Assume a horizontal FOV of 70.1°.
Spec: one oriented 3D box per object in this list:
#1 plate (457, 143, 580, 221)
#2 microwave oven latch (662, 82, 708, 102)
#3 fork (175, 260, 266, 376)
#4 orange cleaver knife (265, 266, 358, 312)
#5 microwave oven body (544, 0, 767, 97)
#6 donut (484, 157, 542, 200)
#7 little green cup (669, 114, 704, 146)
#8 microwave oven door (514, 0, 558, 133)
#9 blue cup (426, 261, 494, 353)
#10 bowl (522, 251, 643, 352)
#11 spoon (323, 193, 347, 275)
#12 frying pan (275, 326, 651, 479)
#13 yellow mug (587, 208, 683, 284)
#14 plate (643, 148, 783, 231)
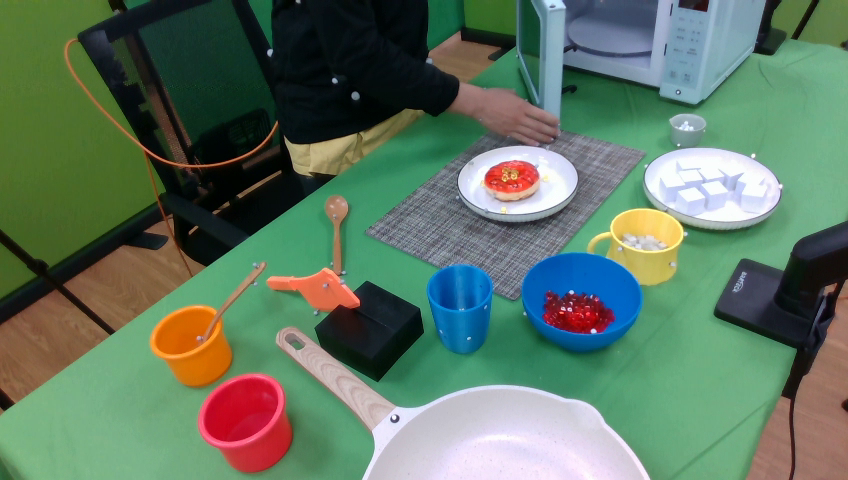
[{"bbox_3d":[0.162,-0.097,1.042,0.209,0.038,0.208,-4,40,4],"label":"plate"},{"bbox_3d":[0.518,-0.298,1.202,0.078,0.029,0.030,28,53,35],"label":"microwave oven latch"},{"bbox_3d":[-0.268,0.103,0.792,0.207,0.019,0.028,-51,40,16],"label":"fork"},{"bbox_3d":[-0.164,0.073,0.864,0.210,0.077,0.012,-6,31,50],"label":"orange cleaver knife"},{"bbox_3d":[0.473,-0.516,1.313,0.438,0.261,0.327,26,51,34],"label":"microwave oven body"},{"bbox_3d":[0.153,-0.107,1.039,0.099,0.048,0.098,-6,37,5],"label":"donut"},{"bbox_3d":[0.485,-0.203,1.122,0.061,0.039,0.061,-5,40,5],"label":"little green cup"},{"bbox_3d":[0.224,-0.412,1.220,0.039,0.245,0.354,-6,41,2],"label":"microwave oven door"},{"bbox_3d":[0.049,0.095,0.792,0.092,0.100,0.092,-3,42,3],"label":"blue cup"},{"bbox_3d":[0.204,0.093,0.792,0.151,0.077,0.150,-4,40,4],"label":"bowl"},{"bbox_3d":[-0.148,-0.014,1.008,0.042,0.022,0.192,1,40,-9],"label":"spoon"},{"bbox_3d":[0.004,0.229,0.641,0.484,0.103,0.308,34,54,28],"label":"frying pan"},{"bbox_3d":[0.305,0.009,0.884,0.131,0.064,0.099,-4,40,5],"label":"yellow mug"},{"bbox_3d":[0.464,-0.080,0.986,0.207,0.039,0.206,-4,41,4],"label":"plate"}]
